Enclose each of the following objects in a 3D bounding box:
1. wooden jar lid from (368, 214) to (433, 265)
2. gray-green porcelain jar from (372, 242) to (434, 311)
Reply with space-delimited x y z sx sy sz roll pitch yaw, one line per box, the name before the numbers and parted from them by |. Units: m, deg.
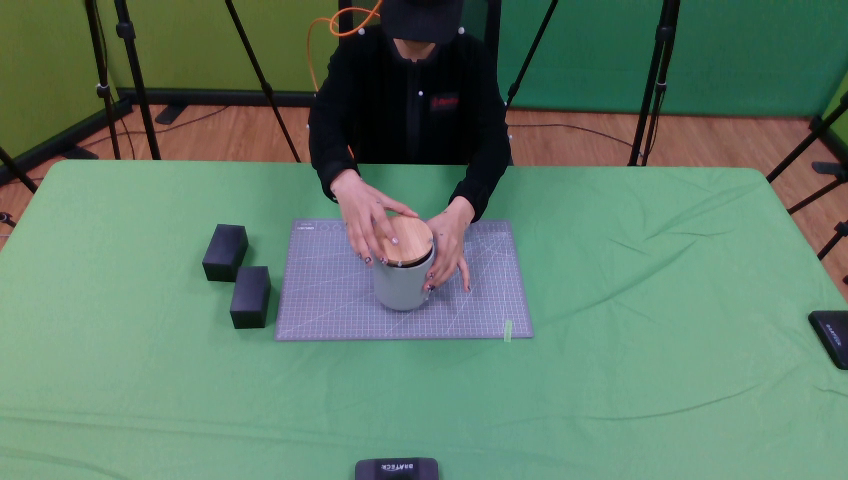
wooden jar lid | -0.039 0.001 1.008 0.108 0.021 0.107 3 47 -3
gray-green porcelain jar | -0.037 0.054 1.067 0.106 0.127 0.105 2 46 -2
